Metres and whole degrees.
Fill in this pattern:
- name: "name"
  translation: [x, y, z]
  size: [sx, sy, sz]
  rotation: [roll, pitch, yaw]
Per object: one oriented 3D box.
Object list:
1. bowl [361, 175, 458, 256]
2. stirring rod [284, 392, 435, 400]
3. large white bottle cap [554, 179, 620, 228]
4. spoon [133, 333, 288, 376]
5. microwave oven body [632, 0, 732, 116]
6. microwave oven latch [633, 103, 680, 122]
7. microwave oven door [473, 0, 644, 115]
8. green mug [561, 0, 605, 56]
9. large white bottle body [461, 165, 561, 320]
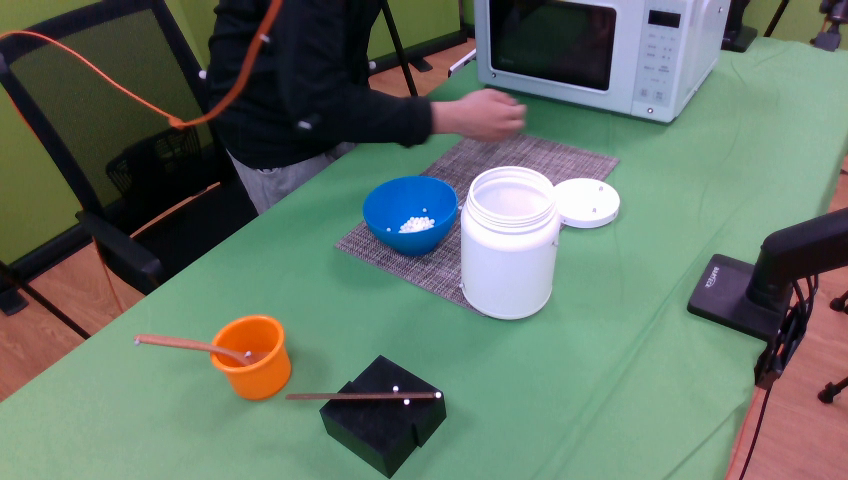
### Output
- name: "bowl"
  translation: [-0.019, -0.028, 0.955]
  size: [0.151, 0.077, 0.150]
  rotation: [-4, 40, 4]
- name: "stirring rod"
  translation: [-0.075, 0.180, 0.698]
  size: [0.176, 0.006, 0.014]
  rotation: [-2, 6, 6]
- name: "large white bottle cap"
  translation: [0.265, -0.062, 1.001]
  size: [0.115, 0.018, 0.114]
  rotation: [-4, 41, 4]
- name: "spoon"
  translation: [-0.257, 0.137, 0.747]
  size: [0.021, 0.195, 0.041]
  rotation: [-47, 40, 23]
- name: "microwave oven body"
  translation: [0.377, -0.463, 1.267]
  size: [0.438, 0.261, 0.327]
  rotation: [21, 48, 30]
- name: "microwave oven latch"
  translation: [0.443, -0.249, 1.157]
  size: [0.078, 0.029, 0.030]
  rotation: [21, 49, 30]
- name: "microwave oven door"
  translation: [0.257, -0.396, 1.199]
  size: [0.353, 0.245, 0.039]
  rotation: [21, 48, 29]
- name: "green mug"
  translation: [0.336, -0.450, 1.293]
  size: [0.092, 0.105, 0.125]
  rotation: [7, 49, 22]
- name: "large white bottle body"
  translation: [0.115, 0.004, 0.816]
  size: [0.130, 0.185, 0.130]
  rotation: [-2, 43, 2]
